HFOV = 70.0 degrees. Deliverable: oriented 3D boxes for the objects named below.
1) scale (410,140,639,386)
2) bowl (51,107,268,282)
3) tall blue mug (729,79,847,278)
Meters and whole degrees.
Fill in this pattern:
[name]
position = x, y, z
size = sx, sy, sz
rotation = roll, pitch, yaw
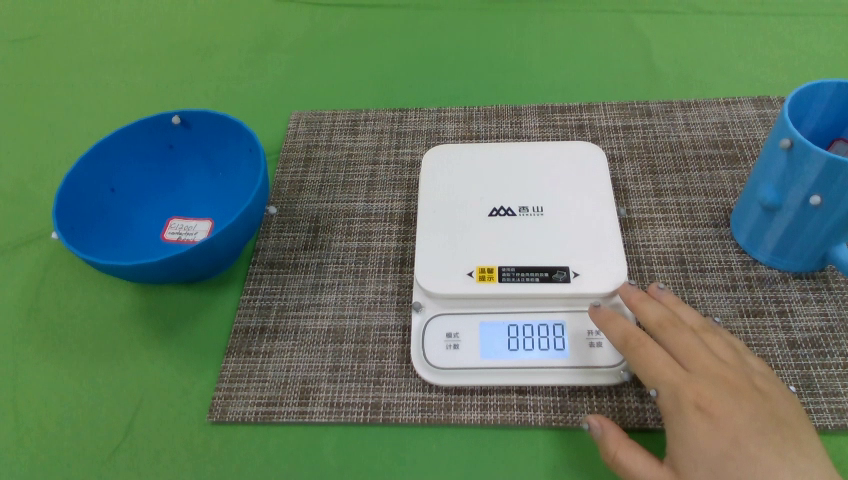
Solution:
[scale]
position = 0.067, 0.007, 0.438
size = 0.148, 0.032, 0.199
rotation = -1, 53, 5
[bowl]
position = -0.184, -0.021, 0.459
size = 0.151, 0.077, 0.150
rotation = -3, 53, 4
[tall blue mug]
position = 0.271, -0.032, 0.398
size = 0.106, 0.109, 0.077
rotation = 33, 62, 27
